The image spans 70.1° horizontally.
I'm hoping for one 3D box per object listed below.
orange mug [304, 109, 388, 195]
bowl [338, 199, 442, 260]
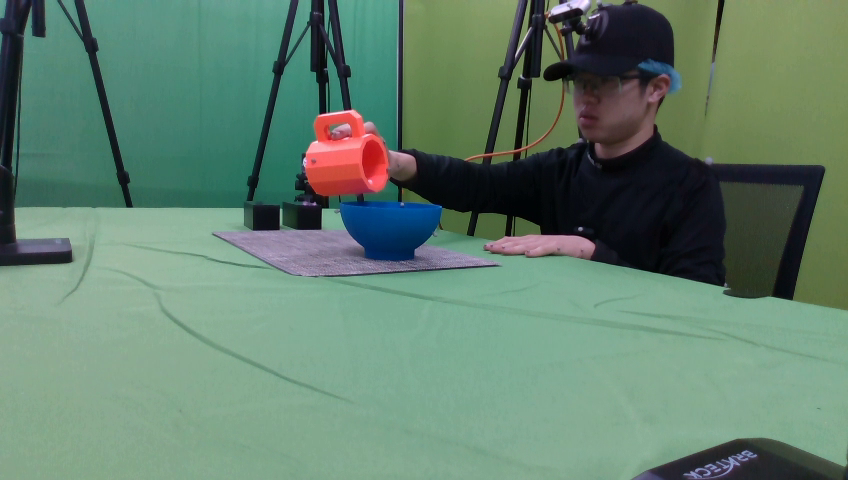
[{"bbox_3d":[-0.119,-0.130,0.904,0.100,0.126,0.083,2,23,25],"label":"orange mug"},{"bbox_3d":[-0.050,-0.015,0.878,0.151,0.077,0.151,2,8,0],"label":"bowl"}]
